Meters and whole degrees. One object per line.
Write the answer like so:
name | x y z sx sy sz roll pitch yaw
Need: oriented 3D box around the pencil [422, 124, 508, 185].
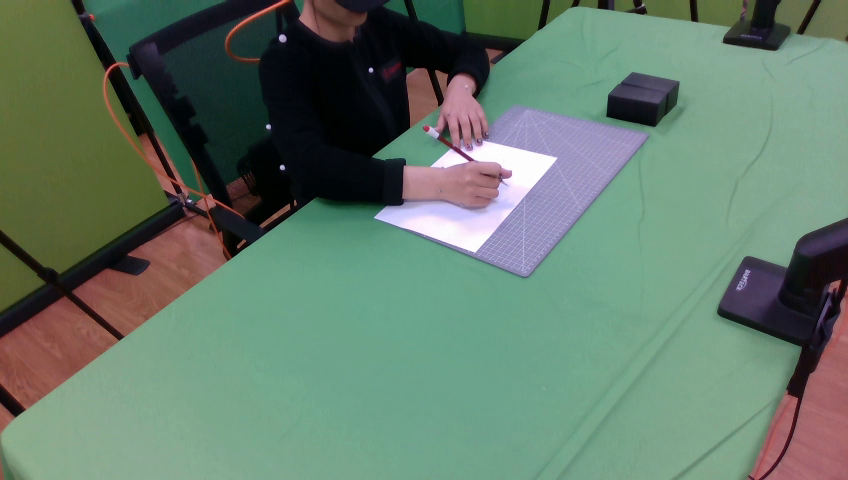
pencil | 0.073 -0.139 1.007 0.012 0.195 0.012 -37 36 34
